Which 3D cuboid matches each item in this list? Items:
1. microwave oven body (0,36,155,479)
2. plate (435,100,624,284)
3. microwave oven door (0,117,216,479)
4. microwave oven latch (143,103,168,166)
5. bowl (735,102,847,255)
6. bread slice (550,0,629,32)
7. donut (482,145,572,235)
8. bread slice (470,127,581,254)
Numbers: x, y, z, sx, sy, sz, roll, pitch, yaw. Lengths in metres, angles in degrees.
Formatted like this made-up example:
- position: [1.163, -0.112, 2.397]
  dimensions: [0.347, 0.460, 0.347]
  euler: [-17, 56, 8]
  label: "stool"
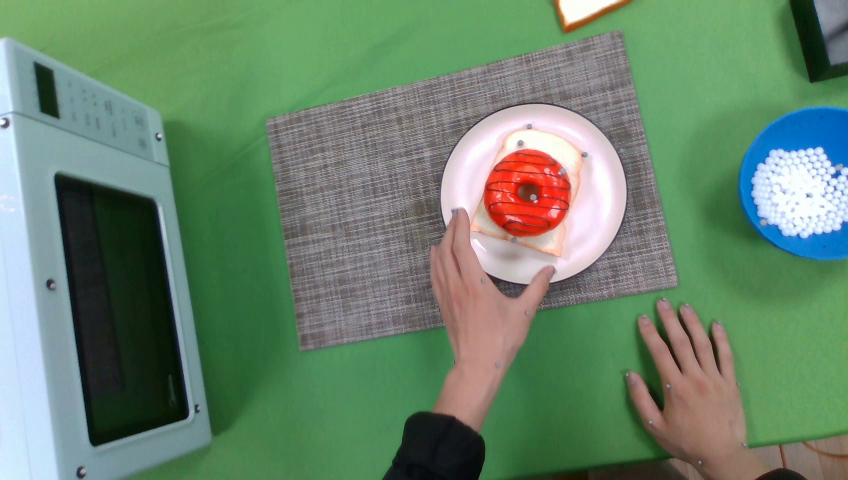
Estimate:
- position: [-0.478, 0.063, 0.686]
  dimensions: [0.326, 0.261, 0.440]
  euler: [-13, 83, 9]
  label: "microwave oven body"
- position: [0.118, -0.053, 0.690]
  dimensions: [0.207, 0.039, 0.207]
  euler: [-1, 85, 11]
  label: "plate"
- position: [-0.331, 0.070, 0.651]
  dimensions: [0.039, 0.245, 0.354]
  euler: [-14, 82, 10]
  label: "microwave oven door"
- position: [-0.353, -0.132, 0.777]
  dimensions: [0.030, 0.029, 0.079]
  euler: [-13, 83, 9]
  label: "microwave oven latch"
- position: [0.390, -0.056, 0.619]
  dimensions: [0.151, 0.077, 0.151]
  euler: [-1, 84, 11]
  label: "bowl"
- position: [0.184, -0.325, 0.715]
  dimensions: [0.105, 0.019, 0.131]
  euler: [-26, 82, 7]
  label: "bread slice"
- position: [0.112, -0.054, 0.663]
  dimensions: [0.099, 0.048, 0.099]
  euler: [-1, 85, 12]
  label: "donut"
- position: [0.119, -0.060, 0.691]
  dimensions: [0.106, 0.018, 0.134]
  euler: [14, 88, 12]
  label: "bread slice"
